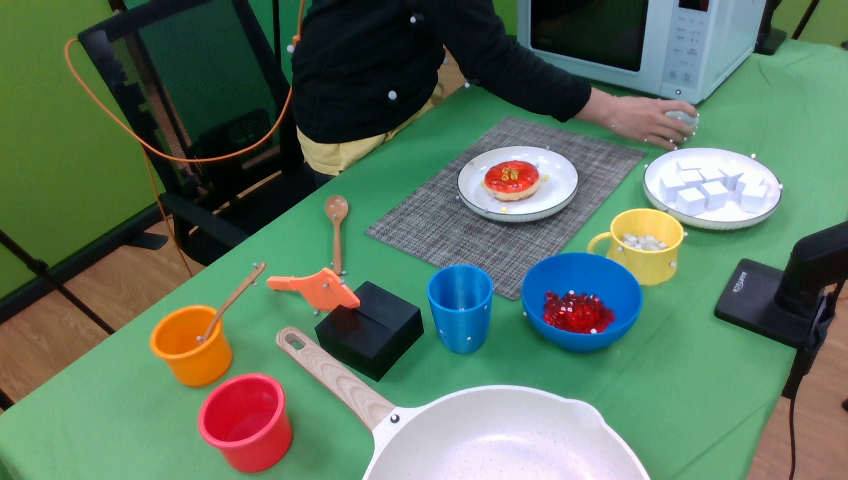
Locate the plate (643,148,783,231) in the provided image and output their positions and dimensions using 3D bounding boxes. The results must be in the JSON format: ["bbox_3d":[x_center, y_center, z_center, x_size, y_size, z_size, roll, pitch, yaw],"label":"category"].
[{"bbox_3d":[0.464,-0.080,0.985,0.207,0.039,0.206,-4,41,4],"label":"plate"}]

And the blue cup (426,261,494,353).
[{"bbox_3d":[0.049,0.095,0.792,0.092,0.100,0.092,-3,43,3],"label":"blue cup"}]

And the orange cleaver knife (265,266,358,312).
[{"bbox_3d":[-0.165,0.073,0.864,0.210,0.077,0.012,-6,31,50],"label":"orange cleaver knife"}]

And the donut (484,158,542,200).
[{"bbox_3d":[0.153,-0.107,1.039,0.099,0.048,0.098,-6,37,5],"label":"donut"}]

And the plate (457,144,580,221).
[{"bbox_3d":[0.162,-0.097,1.042,0.209,0.038,0.208,-4,40,4],"label":"plate"}]

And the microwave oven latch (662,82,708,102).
[{"bbox_3d":[0.518,-0.298,1.202,0.078,0.029,0.030,28,53,35],"label":"microwave oven latch"}]

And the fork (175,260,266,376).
[{"bbox_3d":[-0.268,0.103,0.792,0.207,0.019,0.028,-51,41,16],"label":"fork"}]

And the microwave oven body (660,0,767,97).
[{"bbox_3d":[0.473,-0.516,1.313,0.438,0.261,0.327,26,51,34],"label":"microwave oven body"}]

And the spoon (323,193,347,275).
[{"bbox_3d":[-0.148,-0.014,1.007,0.042,0.021,0.192,4,39,-12],"label":"spoon"}]

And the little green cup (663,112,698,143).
[{"bbox_3d":[0.478,-0.210,1.133,0.061,0.039,0.061,-6,39,5],"label":"little green cup"}]

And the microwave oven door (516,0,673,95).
[{"bbox_3d":[0.344,-0.458,1.257,0.353,0.245,0.039,27,52,33],"label":"microwave oven door"}]

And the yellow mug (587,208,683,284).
[{"bbox_3d":[0.305,0.009,0.884,0.131,0.064,0.099,-4,41,5],"label":"yellow mug"}]

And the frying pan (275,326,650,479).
[{"bbox_3d":[0.003,0.229,0.641,0.484,0.103,0.308,34,54,28],"label":"frying pan"}]

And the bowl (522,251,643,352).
[{"bbox_3d":[0.204,0.093,0.792,0.151,0.077,0.150,-4,40,4],"label":"bowl"}]
